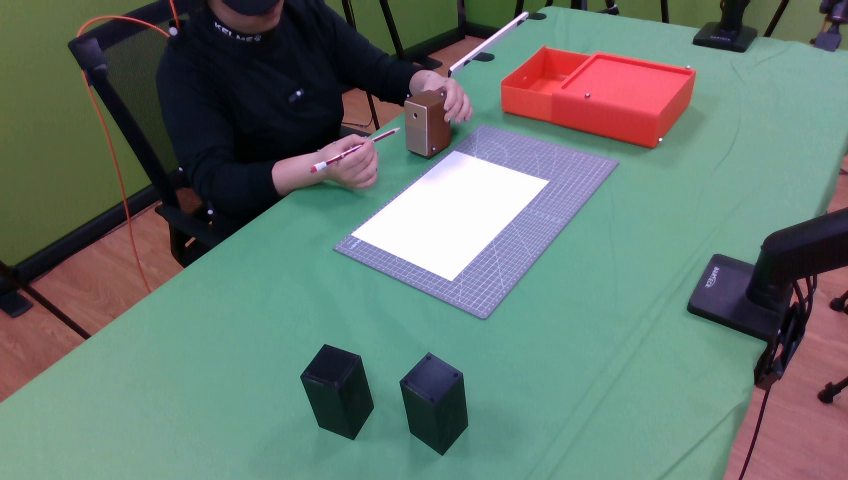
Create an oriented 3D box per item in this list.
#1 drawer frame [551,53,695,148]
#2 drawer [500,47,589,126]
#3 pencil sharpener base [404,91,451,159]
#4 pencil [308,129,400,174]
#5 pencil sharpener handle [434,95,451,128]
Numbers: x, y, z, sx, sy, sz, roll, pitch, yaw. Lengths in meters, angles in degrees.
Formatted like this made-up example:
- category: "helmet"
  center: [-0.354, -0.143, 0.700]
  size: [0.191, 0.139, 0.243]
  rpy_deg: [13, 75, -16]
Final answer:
- category: "drawer frame"
  center: [0.391, -0.281, 1.196]
  size: [0.212, 0.083, 0.202]
  rpy_deg: [22, 48, 29]
- category: "drawer"
  center: [0.295, -0.316, 1.255]
  size: [0.210, 0.073, 0.195]
  rpy_deg: [22, 47, 29]
- category: "pencil sharpener base"
  center: [0.009, -0.223, 1.162]
  size: [0.061, 0.107, 0.077]
  rpy_deg: [25, 42, 33]
- category: "pencil"
  center: [-0.117, -0.157, 1.049]
  size: [0.195, 0.012, 0.012]
  rpy_deg: [-31, 45, -27]
- category: "pencil sharpener handle"
  center: [0.041, -0.255, 1.188]
  size: [0.035, 0.068, 0.031]
  rpy_deg: [28, 44, 31]
